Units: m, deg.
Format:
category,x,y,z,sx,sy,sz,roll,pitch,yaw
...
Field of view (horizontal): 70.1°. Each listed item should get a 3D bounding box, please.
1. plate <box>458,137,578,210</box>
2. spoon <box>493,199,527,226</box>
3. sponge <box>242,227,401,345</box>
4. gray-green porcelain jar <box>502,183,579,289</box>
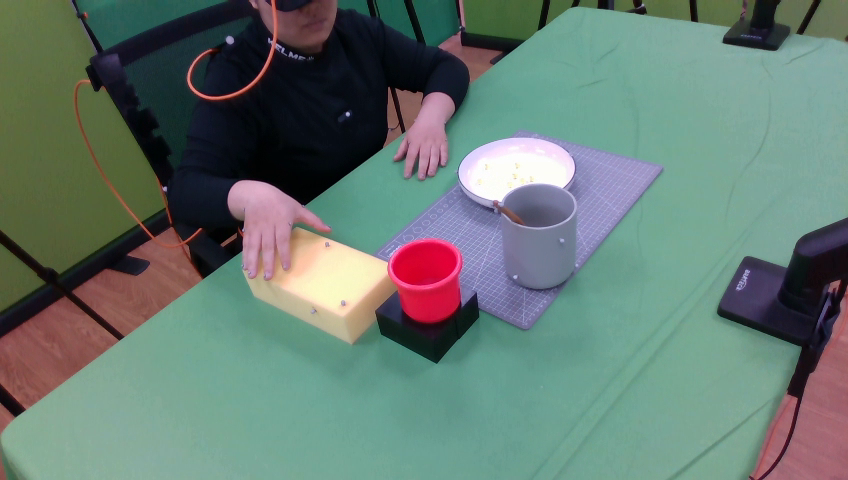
category,x,y,z,sx,sy,sz,roll,pitch,yaw
plate,0.166,-0.113,1.068,0.207,0.039,0.206,-5,40,5
spoon,0.135,-0.016,0.831,0.021,0.195,0.041,-49,53,-1
sponge,-0.154,0.063,0.907,0.205,0.061,0.118,19,48,29
gray-green porcelain jar,0.167,-0.001,0.866,0.106,0.127,0.105,-5,40,5
